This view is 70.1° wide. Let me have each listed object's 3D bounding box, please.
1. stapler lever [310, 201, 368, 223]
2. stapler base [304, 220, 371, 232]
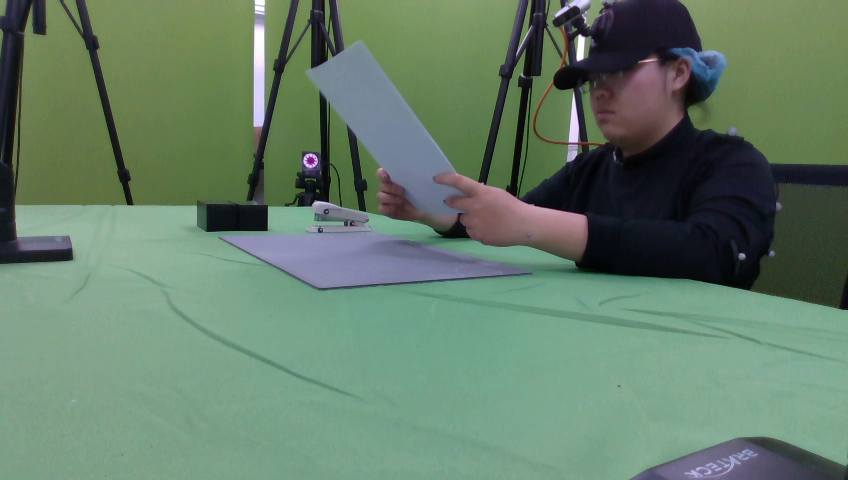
[{"bbox_3d":[-0.166,-0.054,1.185,0.119,0.040,0.026,0,9,-33],"label":"stapler lever"},{"bbox_3d":[-0.169,-0.029,1.186,0.131,0.024,0.041,0,9,-33],"label":"stapler base"}]
